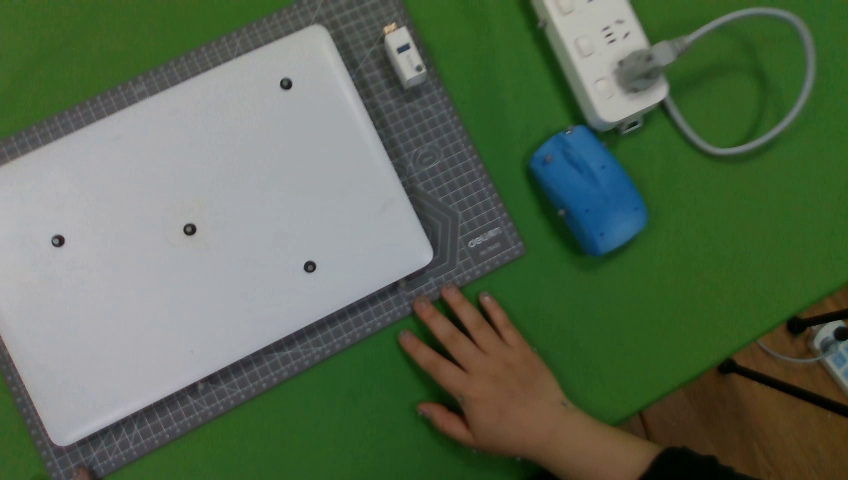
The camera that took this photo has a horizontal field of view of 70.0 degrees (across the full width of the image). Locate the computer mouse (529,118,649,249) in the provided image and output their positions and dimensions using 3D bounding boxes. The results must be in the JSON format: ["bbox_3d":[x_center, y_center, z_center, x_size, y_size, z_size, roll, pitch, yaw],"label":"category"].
[{"bbox_3d":[0.147,-0.052,0.539,0.063,0.041,0.117,-33,82,-4],"label":"computer mouse"}]

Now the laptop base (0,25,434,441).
[{"bbox_3d":[-0.196,-0.013,0.522,0.354,0.023,0.235,-27,90,-6],"label":"laptop base"}]

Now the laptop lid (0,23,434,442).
[{"bbox_3d":[-0.195,-0.012,0.510,0.357,0.013,0.241,-25,89,-6],"label":"laptop lid"}]

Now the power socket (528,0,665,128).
[{"bbox_3d":[0.144,-0.211,0.557,0.072,0.032,0.226,-25,86,-5],"label":"power socket"}]

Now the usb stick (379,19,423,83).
[{"bbox_3d":[-0.023,-0.173,0.542,0.021,0.027,0.059,-27,85,-2],"label":"usb stick"}]

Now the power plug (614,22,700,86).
[{"bbox_3d":[0.204,-0.158,0.535,0.072,0.052,0.035,-15,87,-6],"label":"power plug"}]
